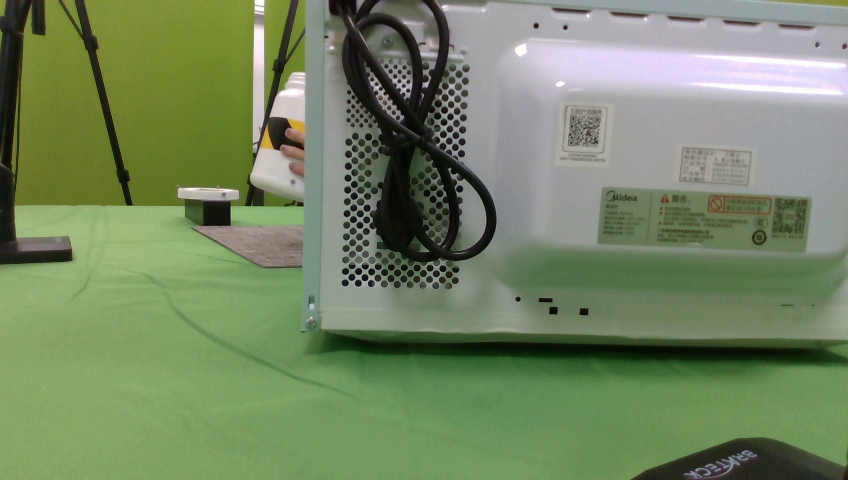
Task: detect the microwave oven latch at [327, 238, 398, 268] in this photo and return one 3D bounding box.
[{"bbox_3d":[-0.069,0.015,0.694,0.079,0.029,0.030,3,7,-3],"label":"microwave oven latch"}]

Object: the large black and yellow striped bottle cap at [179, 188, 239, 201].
[{"bbox_3d":[-0.434,-0.093,1.226,0.115,0.019,0.115,3,9,0],"label":"large black and yellow striped bottle cap"}]

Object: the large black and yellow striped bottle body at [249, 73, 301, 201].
[{"bbox_3d":[-0.187,-0.155,0.953,0.131,0.184,0.131,16,-3,1],"label":"large black and yellow striped bottle body"}]

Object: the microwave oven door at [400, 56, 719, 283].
[{"bbox_3d":[0.155,-0.077,0.698,0.356,0.243,0.039,2,8,-5],"label":"microwave oven door"}]

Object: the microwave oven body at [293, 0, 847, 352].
[{"bbox_3d":[0.122,-0.055,0.550,0.442,0.260,0.325,3,7,-5],"label":"microwave oven body"}]

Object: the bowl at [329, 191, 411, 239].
[{"bbox_3d":[-0.100,-0.045,1.104,0.151,0.077,0.151,3,8,0],"label":"bowl"}]
